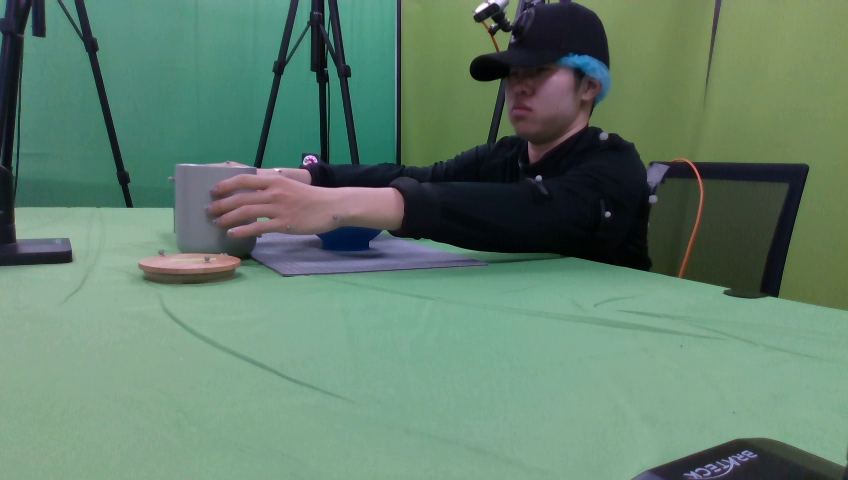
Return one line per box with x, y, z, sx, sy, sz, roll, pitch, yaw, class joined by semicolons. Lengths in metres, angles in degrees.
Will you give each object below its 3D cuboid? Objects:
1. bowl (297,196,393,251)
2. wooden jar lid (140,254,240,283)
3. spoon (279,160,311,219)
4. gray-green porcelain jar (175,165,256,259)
-0.126;-0.026;0.958;0.151;0.077;0.151;3;8;0;bowl
-0.269;0.033;0.698;0.108;0.020;0.108;2;5;0;wooden jar lid
-0.285;-0.117;1.371;0.041;0.193;0.022;3;-37;10;spoon
-0.287;-0.039;0.837;0.106;0.126;0.106;2;8;0;gray-green porcelain jar
